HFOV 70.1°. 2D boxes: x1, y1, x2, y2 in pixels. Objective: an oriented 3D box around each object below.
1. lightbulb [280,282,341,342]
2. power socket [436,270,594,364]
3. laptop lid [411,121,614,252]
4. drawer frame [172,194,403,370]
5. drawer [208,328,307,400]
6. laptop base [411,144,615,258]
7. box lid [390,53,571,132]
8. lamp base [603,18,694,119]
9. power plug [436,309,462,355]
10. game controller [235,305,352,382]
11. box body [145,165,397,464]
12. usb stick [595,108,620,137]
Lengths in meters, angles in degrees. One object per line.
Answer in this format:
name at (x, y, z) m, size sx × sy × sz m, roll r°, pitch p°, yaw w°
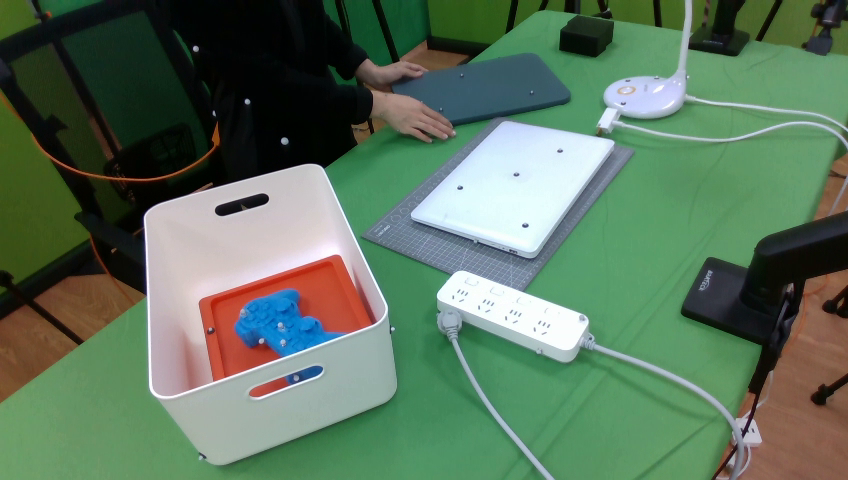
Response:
lightbulb at (-0.152, 0.100, 0.825) m, size 0.107 × 0.060 × 0.060 m, roll 38°, pitch 57°, yaw 25°
power socket at (0.118, 0.102, 0.830) m, size 0.225 × 0.033 × 0.072 m, roll 20°, pitch 48°, yaw 28°
laptop lid at (0.164, -0.112, 1.068) m, size 0.240 × 0.013 × 0.357 m, roll 19°, pitch 46°, yaw 30°
drawer frame at (-0.170, 0.080, 0.765) m, size 0.201 × 0.214 × 0.082 m, roll -29°, pitch 18°, yaw 26°
drawer at (-0.171, 0.127, 0.779) m, size 0.195 × 0.073 × 0.210 m, roll -18°, pitch 35°, yaw -14°
laptop base at (0.167, -0.102, 1.074) m, size 0.234 × 0.023 × 0.355 m, roll 17°, pitch 45°, yaw 30°
box lid at (0.121, -0.339, 1.366) m, size 0.372 × 0.015 × 0.261 m, roll -12°, pitch 40°, yaw -6°
lamp base at (0.460, -0.355, 1.204) m, size 0.179 × 0.181 × 0.160 m, roll 2°, pitch 41°, yaw 7°
power plug at (0.032, 0.126, 0.810) m, size 0.035 × 0.053 × 0.072 m, roll 3°, pitch 59°, yaw 7°
game controller at (-0.159, 0.111, 0.734) m, size 0.154 × 0.052 × 0.097 m, roll 29°, pitch 56°, yaw 35°
box body at (-0.205, 0.080, 0.802) m, size 0.255 × 0.161 × 0.361 m, roll -18°, pitch 41°, yaw -13°
usb stick at (0.355, -0.225, 1.175) m, size 0.027 × 0.022 × 0.059 m, roll 29°, pitch 85°, yaw 40°
